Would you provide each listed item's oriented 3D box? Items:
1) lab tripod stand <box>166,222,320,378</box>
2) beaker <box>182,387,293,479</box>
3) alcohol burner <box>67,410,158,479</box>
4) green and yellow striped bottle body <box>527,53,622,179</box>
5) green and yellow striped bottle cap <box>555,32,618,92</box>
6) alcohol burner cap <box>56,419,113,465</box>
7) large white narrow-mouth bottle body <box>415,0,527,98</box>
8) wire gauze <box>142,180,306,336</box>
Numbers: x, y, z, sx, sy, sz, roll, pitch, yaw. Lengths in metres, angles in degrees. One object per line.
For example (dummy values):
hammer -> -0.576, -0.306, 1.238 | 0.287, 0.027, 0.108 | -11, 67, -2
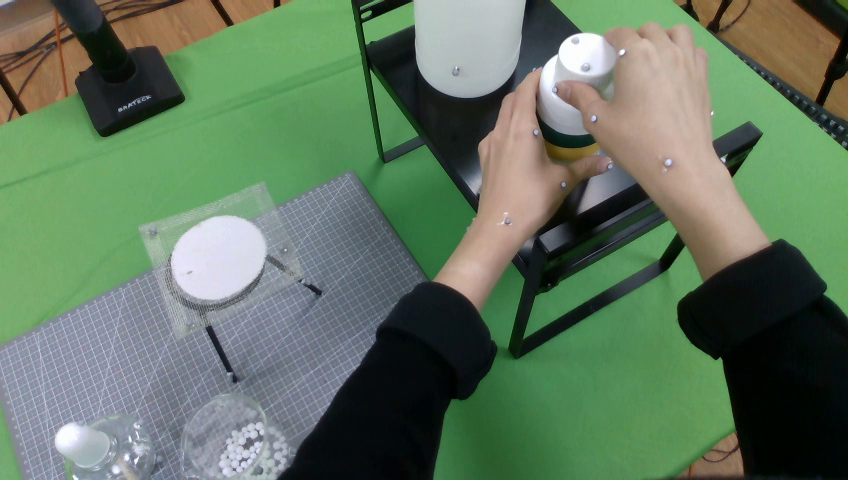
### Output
lab tripod stand -> -0.187, 0.049, 0.614 | 0.148, 0.132, 0.147 | 0, 60, 1
beaker -> -0.168, 0.189, 0.559 | 0.084, 0.101, 0.073 | -40, 67, -17
alcohol burner -> -0.293, 0.190, 0.554 | 0.078, 0.120, 0.077 | 0, 60, 1
green and yellow striped bottle body -> 0.122, -0.107, 0.494 | 0.063, 0.120, 0.062 | -1, 62, 2
green and yellow striped bottle cap -> 0.121, -0.132, 0.449 | 0.045, 0.020, 0.045 | -1, 62, 2
alcohol burner cap -> -0.296, 0.172, 0.522 | 0.034, 0.048, 0.033 | -1, 55, 2
large white narrow-mouth bottle body -> 0.041, -0.222, 0.516 | 0.102, 0.196, 0.101 | -1, 60, 2
wire gauze -> -0.184, 0.010, 0.558 | 0.121, 0.011, 0.124 | -24, 64, -12
